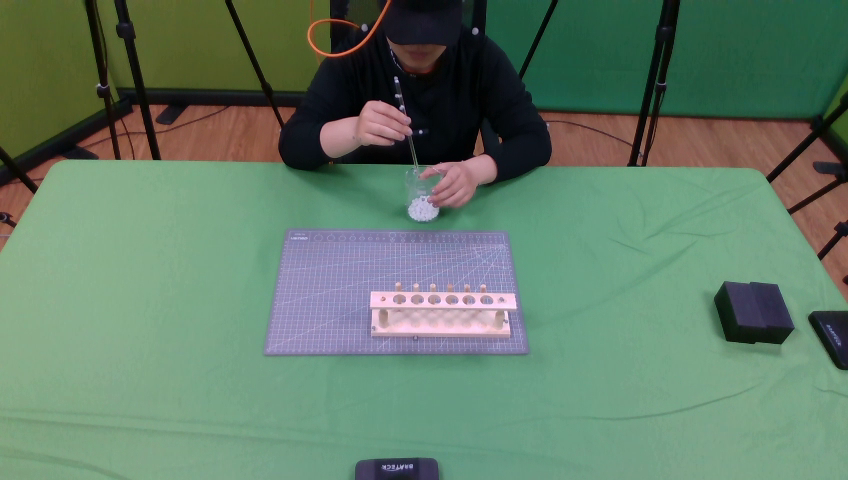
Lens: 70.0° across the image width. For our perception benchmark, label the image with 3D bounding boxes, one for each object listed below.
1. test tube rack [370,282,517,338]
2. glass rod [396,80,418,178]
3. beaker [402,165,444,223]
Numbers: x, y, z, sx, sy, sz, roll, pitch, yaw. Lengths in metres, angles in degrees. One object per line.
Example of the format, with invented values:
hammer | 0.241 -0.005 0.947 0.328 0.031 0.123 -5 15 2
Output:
test tube rack | 0.030 0.116 1.041 0.242 0.085 0.066 1 46 -3
glass rod | -0.031 -0.199 1.117 0.008 0.201 0.008 -8 36 6
beaker | -0.001 -0.091 1.230 0.084 0.101 0.073 -15 50 -12
